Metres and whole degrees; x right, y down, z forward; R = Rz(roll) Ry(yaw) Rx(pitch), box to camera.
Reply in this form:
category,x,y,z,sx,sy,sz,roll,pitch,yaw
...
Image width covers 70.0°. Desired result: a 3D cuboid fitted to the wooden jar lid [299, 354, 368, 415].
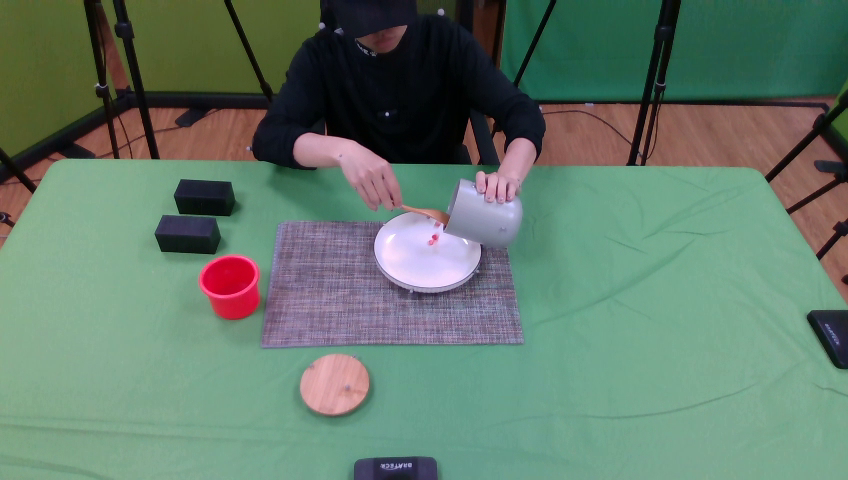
category,x,y,z,sx,sy,sz,roll,pitch,yaw
wooden jar lid,-0.143,0.232,0.964,0.108,0.021,0.107,2,45,-2

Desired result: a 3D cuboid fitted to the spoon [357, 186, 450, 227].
category,x,y,z,sx,sy,sz,roll,pitch,yaw
spoon,-0.031,-0.060,1.111,0.194,0.022,0.041,17,40,-5

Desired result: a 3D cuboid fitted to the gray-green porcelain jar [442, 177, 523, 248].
category,x,y,z,sx,sy,sz,roll,pitch,yaw
gray-green porcelain jar,0.109,-0.047,1.105,0.126,0.106,0.105,16,46,-5

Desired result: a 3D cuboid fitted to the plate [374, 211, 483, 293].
category,x,y,z,sx,sy,sz,roll,pitch,yaw
plate,0.008,0.024,1.158,0.208,0.039,0.206,2,46,-2
